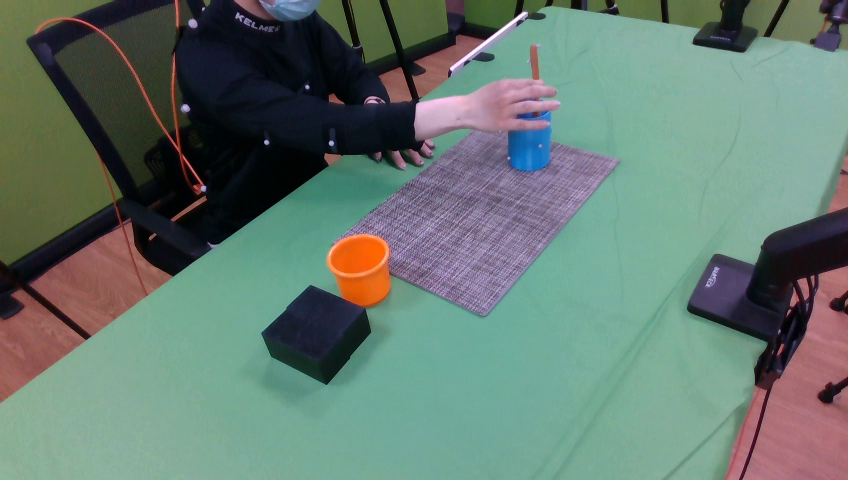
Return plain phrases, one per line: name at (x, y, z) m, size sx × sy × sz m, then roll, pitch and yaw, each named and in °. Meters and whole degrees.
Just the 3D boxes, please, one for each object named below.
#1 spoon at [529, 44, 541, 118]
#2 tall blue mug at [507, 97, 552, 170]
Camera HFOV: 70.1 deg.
spoon at (0.192, -0.245, 1.038) m, size 0.041 × 0.194 × 0.022 m, roll 21°, pitch 48°, yaw 33°
tall blue mug at (0.179, -0.198, 1.101) m, size 0.078 × 0.108 × 0.106 m, roll -36°, pitch 49°, yaw -28°
